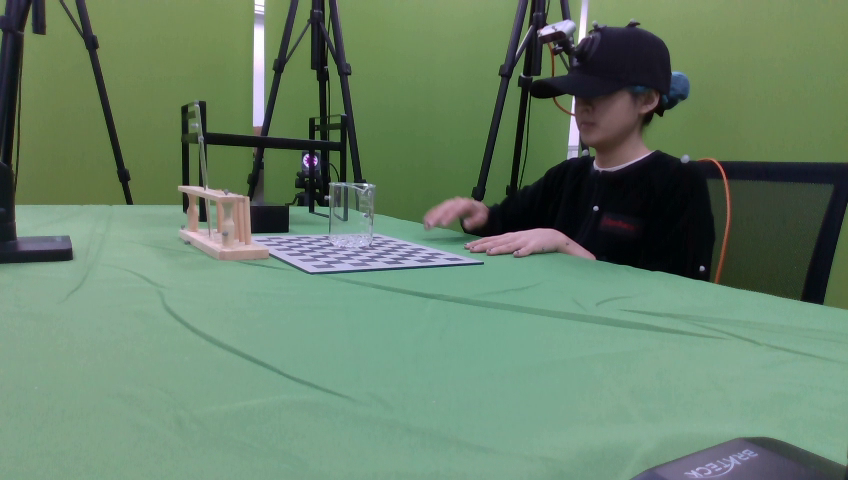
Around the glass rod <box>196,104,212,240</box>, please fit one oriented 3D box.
[{"bbox_3d":[-0.317,-0.095,0.871,0.008,0.199,0.008,-4,4,1],"label":"glass rod"}]

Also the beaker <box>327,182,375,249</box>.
[{"bbox_3d":[-0.114,-0.039,0.950,0.074,0.100,0.083,-2,9,-31],"label":"beaker"}]

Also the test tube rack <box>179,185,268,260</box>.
[{"bbox_3d":[-0.303,-0.031,0.898,0.067,0.085,0.241,-2,9,-33],"label":"test tube rack"}]
